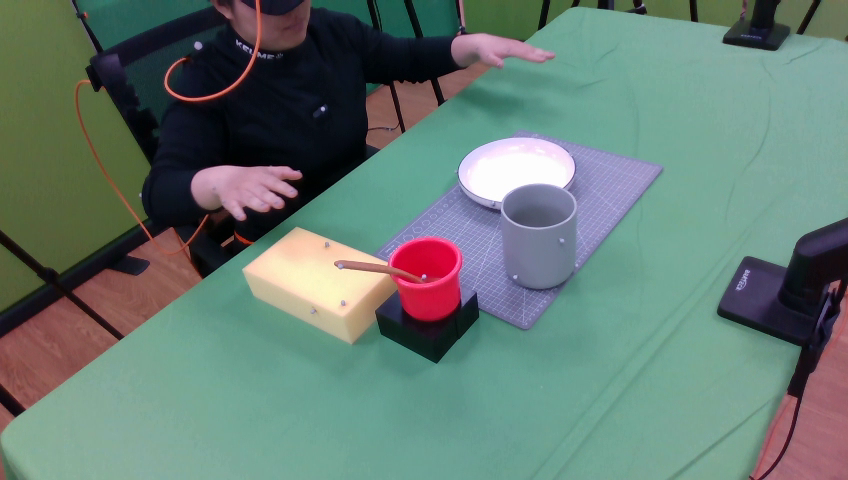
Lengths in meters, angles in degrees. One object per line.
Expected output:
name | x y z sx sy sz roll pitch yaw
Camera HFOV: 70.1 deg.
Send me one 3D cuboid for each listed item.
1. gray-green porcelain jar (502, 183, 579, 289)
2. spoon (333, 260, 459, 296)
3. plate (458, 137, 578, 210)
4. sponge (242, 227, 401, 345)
gray-green porcelain jar | 0.166 -0.001 0.866 0.106 0.127 0.105 -5 40 5
spoon | -0.031 0.045 0.762 0.195 0.021 0.041 19 20 -39
plate | 0.166 -0.113 1.068 0.207 0.039 0.206 -5 40 5
sponge | -0.154 0.063 0.907 0.205 0.061 0.118 19 48 29
